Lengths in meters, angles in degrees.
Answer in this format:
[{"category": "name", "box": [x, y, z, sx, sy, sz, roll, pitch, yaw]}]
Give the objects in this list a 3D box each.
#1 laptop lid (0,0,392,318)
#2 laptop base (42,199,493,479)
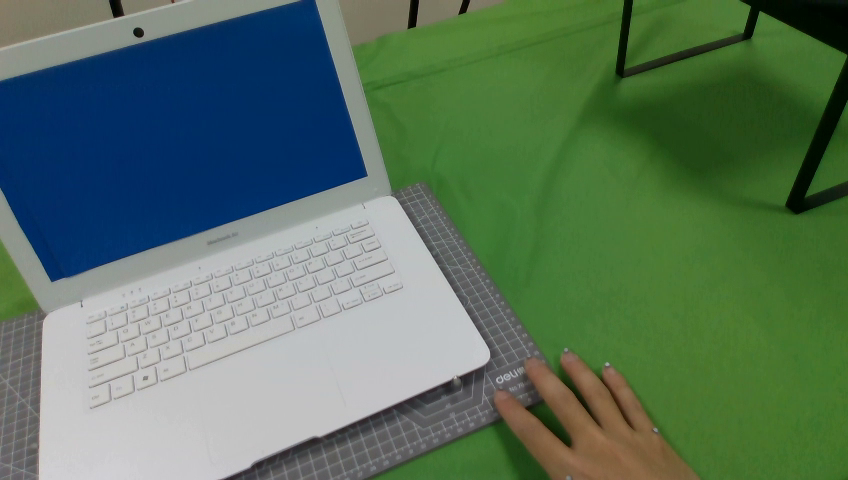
[{"category": "laptop lid", "box": [-0.220, -0.085, 0.564, 0.357, 0.243, 0.013, -22, 24, -12]}, {"category": "laptop base", "box": [-0.146, 0.091, 0.533, 0.355, 0.023, 0.233, -21, 49, -13]}]
